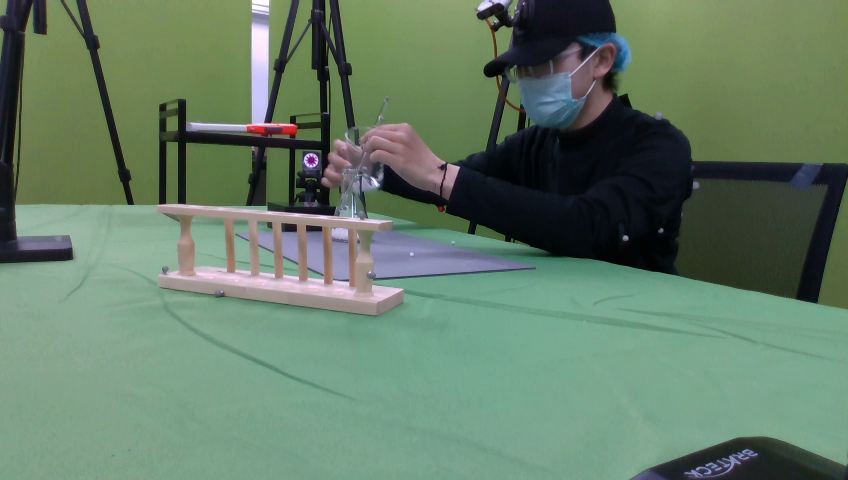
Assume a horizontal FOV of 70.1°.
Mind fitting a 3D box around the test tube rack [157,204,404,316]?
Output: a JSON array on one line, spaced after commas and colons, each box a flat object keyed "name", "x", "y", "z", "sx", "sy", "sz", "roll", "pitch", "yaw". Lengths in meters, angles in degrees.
[{"name": "test tube rack", "x": -0.143, "y": 0.013, "z": 0.599, "sx": 0.242, "sy": 0.085, "sz": 0.067, "roll": 5, "pitch": 8, "yaw": 19}]

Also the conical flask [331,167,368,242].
[{"name": "conical flask", "x": -0.123, "y": -0.061, "z": 1.019, "sx": 0.075, "sy": 0.122, "sz": 0.075, "roll": 2, "pitch": 7, "yaw": 0}]

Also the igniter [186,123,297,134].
[{"name": "igniter", "x": -0.392, "y": -0.248, "z": 1.341, "sx": 0.057, "sy": 0.025, "sz": 0.278, "roll": 9, "pitch": 14, "yaw": 38}]

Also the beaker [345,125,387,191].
[{"name": "beaker", "x": -0.107, "y": -0.146, "z": 1.100, "sx": 0.074, "sy": 0.100, "sz": 0.084, "roll": 10, "pitch": 35, "yaw": 4}]

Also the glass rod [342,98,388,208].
[{"name": "glass rod", "x": -0.099, "y": -0.141, "z": 1.001, "sx": 0.008, "sy": 0.199, "sz": 0.008, "roll": 22, "pitch": 18, "yaw": -7}]
